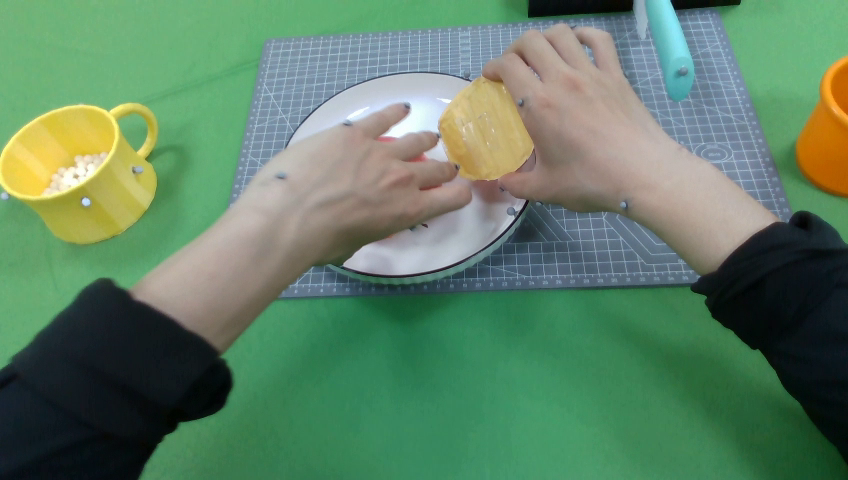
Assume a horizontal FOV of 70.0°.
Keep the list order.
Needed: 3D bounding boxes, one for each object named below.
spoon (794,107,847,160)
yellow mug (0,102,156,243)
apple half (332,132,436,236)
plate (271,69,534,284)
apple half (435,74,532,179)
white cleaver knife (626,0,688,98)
[{"bbox_3d":[0.362,-0.115,0.426,0.022,0.194,0.041,23,47,-31],"label":"spoon"},{"bbox_3d":[-0.282,-0.068,0.515,0.099,0.064,0.130,29,65,21],"label":"yellow mug"},{"bbox_3d":[-0.034,-0.051,0.473,0.081,0.054,0.074,-27,63,-10],"label":"apple half"},{"bbox_3d":[-0.017,-0.053,0.491,0.209,0.038,0.207,-3,58,5],"label":"plate"},{"bbox_3d":[0.048,-0.087,0.473,0.081,0.081,0.033,28,24,21],"label":"apple half"},{"bbox_3d":[0.201,-0.229,0.559,0.021,0.066,0.283,-4,54,9],"label":"white cleaver knife"}]
